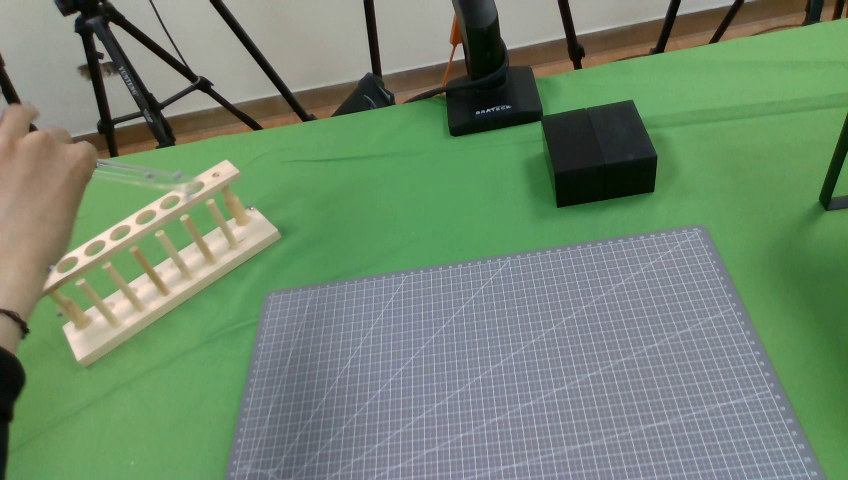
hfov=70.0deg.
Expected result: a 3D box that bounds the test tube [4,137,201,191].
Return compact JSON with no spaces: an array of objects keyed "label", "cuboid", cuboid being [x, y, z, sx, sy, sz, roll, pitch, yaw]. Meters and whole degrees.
[{"label":"test tube","cuboid":[-0.262,-0.062,0.508,0.017,0.151,0.017,-10,76,45]}]

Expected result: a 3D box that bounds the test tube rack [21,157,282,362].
[{"label":"test tube rack","cuboid":[-0.285,0.017,0.656,0.242,0.086,0.066,-36,48,-19]}]
